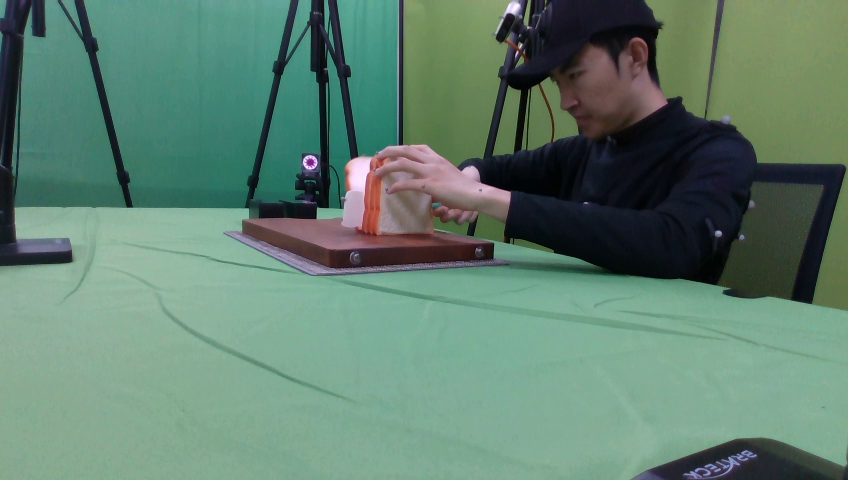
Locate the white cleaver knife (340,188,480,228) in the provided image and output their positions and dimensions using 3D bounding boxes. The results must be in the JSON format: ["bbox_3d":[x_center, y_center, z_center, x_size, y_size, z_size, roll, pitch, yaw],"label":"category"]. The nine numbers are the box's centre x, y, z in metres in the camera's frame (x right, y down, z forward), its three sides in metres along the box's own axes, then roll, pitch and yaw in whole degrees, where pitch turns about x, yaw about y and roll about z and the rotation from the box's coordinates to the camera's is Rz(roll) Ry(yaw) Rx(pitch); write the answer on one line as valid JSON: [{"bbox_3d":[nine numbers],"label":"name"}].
[{"bbox_3d":[-0.017,-0.050,1.014,0.288,0.066,0.021,-1,8,-37],"label":"white cleaver knife"}]

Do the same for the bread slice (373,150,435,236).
[{"bbox_3d":[-0.031,-0.072,0.938,0.107,0.134,0.018,-5,10,-37],"label":"bread slice"}]

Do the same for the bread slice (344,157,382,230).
[{"bbox_3d":[-0.081,-0.076,1.003,0.105,0.131,0.019,-2,-22,-40],"label":"bread slice"}]
